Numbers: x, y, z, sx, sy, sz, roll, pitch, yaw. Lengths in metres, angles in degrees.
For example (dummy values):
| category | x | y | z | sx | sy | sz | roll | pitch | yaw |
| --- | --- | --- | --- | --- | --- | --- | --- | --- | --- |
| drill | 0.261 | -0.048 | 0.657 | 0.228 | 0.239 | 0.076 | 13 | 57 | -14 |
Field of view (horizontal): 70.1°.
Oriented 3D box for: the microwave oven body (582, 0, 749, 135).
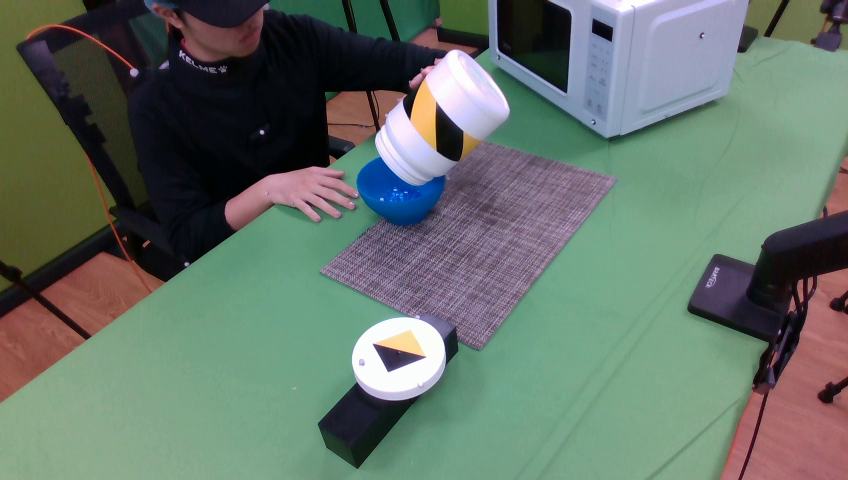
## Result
| category | x | y | z | sx | sy | sz | roll | pitch | yaw |
| --- | --- | --- | --- | --- | --- | --- | --- | --- | --- |
| microwave oven body | 0.382 | -0.444 | 1.246 | 0.327 | 0.261 | 0.437 | -22 | 42 | -16 |

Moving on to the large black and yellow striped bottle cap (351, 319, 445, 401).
| category | x | y | z | sx | sy | sz | roll | pitch | yaw |
| --- | --- | --- | --- | --- | --- | --- | --- | --- | --- |
| large black and yellow striped bottle cap | -0.031 | 0.143 | 0.735 | 0.115 | 0.019 | 0.114 | -3 | 40 | 3 |

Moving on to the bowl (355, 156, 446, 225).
| category | x | y | z | sx | sy | sz | roll | pitch | yaw |
| --- | --- | --- | --- | --- | --- | --- | --- | --- | --- |
| bowl | -0.035 | -0.078 | 1.017 | 0.151 | 0.077 | 0.150 | -4 | 40 | 4 |

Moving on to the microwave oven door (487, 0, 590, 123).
| category | x | y | z | sx | sy | sz | roll | pitch | yaw |
| --- | --- | --- | --- | --- | --- | --- | --- | --- | --- |
| microwave oven door | 0.232 | -0.420 | 1.230 | 0.039 | 0.245 | 0.352 | -22 | 43 | -16 |

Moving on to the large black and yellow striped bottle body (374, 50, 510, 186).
| category | x | y | z | sx | sy | sz | roll | pitch | yaw |
| --- | --- | --- | --- | --- | --- | --- | --- | --- | --- |
| large black and yellow striped bottle body | 0.024 | -0.180 | 0.923 | 0.183 | 0.132 | 0.130 | -40 | 32 | 25 |

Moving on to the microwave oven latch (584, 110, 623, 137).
| category | x | y | z | sx | sy | sz | roll | pitch | yaw |
| --- | --- | --- | --- | --- | --- | --- | --- | --- | --- |
| microwave oven latch | 0.337 | -0.222 | 1.142 | 0.030 | 0.029 | 0.078 | -21 | 42 | -14 |
